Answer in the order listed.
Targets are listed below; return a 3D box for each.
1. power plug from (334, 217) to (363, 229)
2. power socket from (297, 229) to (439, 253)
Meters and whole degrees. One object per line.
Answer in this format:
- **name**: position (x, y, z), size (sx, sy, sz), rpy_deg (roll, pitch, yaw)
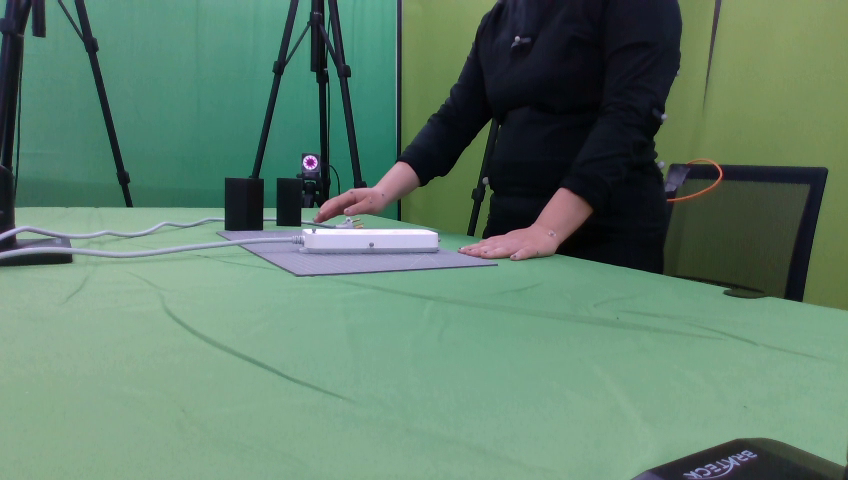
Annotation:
- **power plug**: position (-0.143, -0.031, 1.129), size (0.053, 0.035, 0.072), rpy_deg (-16, 22, -9)
- **power socket**: position (-0.084, 0.001, 0.941), size (0.228, 0.032, 0.072), rpy_deg (0, 7, -20)
